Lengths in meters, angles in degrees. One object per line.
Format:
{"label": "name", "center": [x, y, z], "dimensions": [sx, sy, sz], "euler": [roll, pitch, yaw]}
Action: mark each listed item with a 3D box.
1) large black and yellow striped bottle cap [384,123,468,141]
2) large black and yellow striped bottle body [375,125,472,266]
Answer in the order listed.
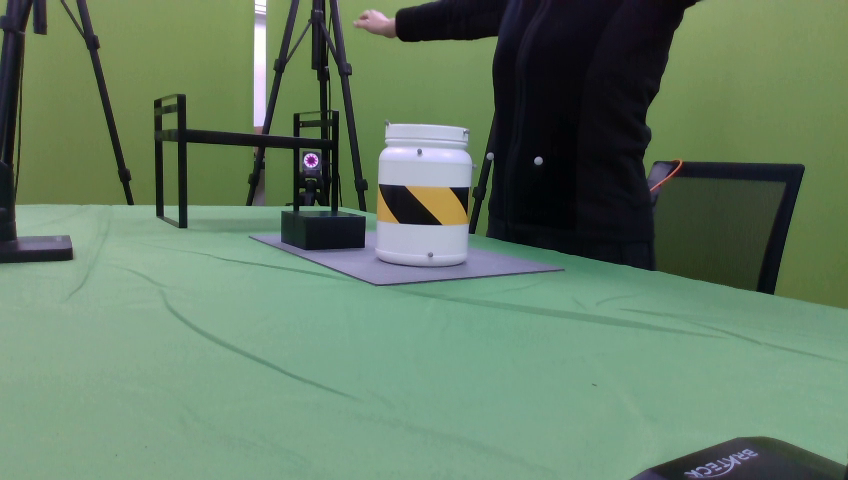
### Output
{"label": "large black and yellow striped bottle cap", "center": [0.003, -0.147, 0.827], "dimensions": [0.115, 0.019, 0.115], "euler": [3, 9, 0]}
{"label": "large black and yellow striped bottle body", "center": [-0.001, -0.064, 0.837], "dimensions": [0.131, 0.184, 0.130], "euler": [2, 7, 0]}
